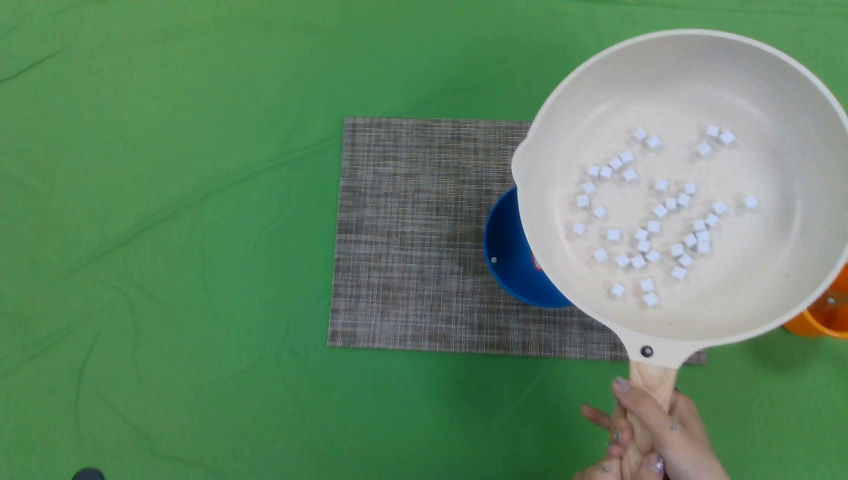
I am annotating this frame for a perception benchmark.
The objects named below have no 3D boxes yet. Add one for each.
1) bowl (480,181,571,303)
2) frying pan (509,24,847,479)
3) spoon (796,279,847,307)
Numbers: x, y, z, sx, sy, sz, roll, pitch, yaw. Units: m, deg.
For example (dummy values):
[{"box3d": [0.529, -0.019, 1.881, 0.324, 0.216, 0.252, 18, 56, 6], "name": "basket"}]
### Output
[{"box3d": [0.141, 0.004, 0.710, 0.151, 0.077, 0.150, 0, 78, 2], "name": "bowl"}, {"box3d": [0.211, 0.045, 0.547, 0.305, 0.103, 0.485, 10, 75, 17], "name": "frying pan"}, {"box3d": [0.487, 0.056, 0.656, 0.022, 0.192, 0.041, 21, 75, -39], "name": "spoon"}]
